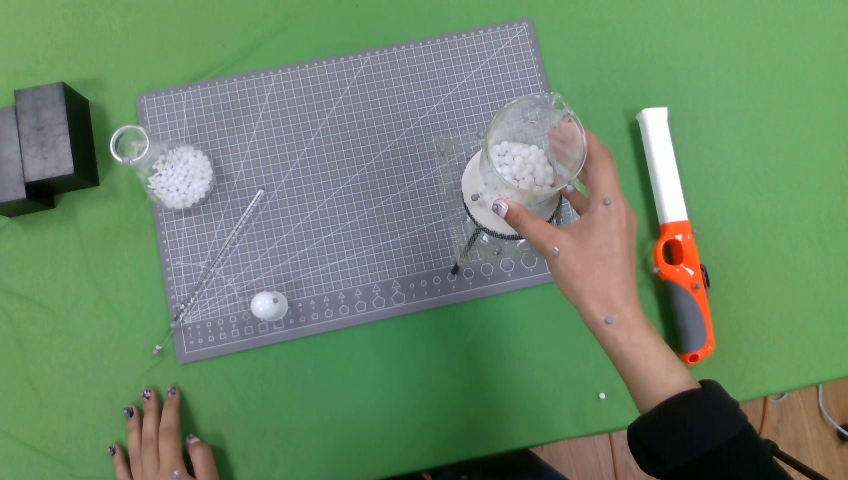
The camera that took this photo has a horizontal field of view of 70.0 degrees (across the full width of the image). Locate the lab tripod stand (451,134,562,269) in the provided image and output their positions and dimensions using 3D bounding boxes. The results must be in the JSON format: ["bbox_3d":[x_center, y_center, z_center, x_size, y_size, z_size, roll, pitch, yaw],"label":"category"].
[{"bbox_3d":[0.075,-0.036,0.594,0.148,0.131,0.148,0,84,-1],"label":"lab tripod stand"}]

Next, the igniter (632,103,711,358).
[{"bbox_3d":[0.266,-0.013,0.651,0.057,0.025,0.275,-7,83,-13],"label":"igniter"}]

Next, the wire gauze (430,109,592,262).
[{"bbox_3d":[0.076,-0.047,0.527,0.125,0.011,0.121,-9,83,-3],"label":"wire gauze"}]

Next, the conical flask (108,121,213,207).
[{"bbox_3d":[-0.263,-0.080,0.597,0.075,0.122,0.075,0,81,-1],"label":"conical flask"}]

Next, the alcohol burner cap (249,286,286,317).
[{"bbox_3d":[-0.162,0.062,0.621,0.034,0.048,0.034,0,82,-2],"label":"alcohol burner cap"}]

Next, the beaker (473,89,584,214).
[{"bbox_3d":[0.079,-0.066,0.481,0.074,0.100,0.084,24,81,2],"label":"beaker"}]

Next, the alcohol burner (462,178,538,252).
[{"bbox_3d":[0.077,-0.028,0.603,0.078,0.119,0.077,0,83,1],"label":"alcohol burner"}]

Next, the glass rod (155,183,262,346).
[{"bbox_3d":[-0.227,0.024,0.641,0.008,0.008,0.199,30,83,3],"label":"glass rod"}]
